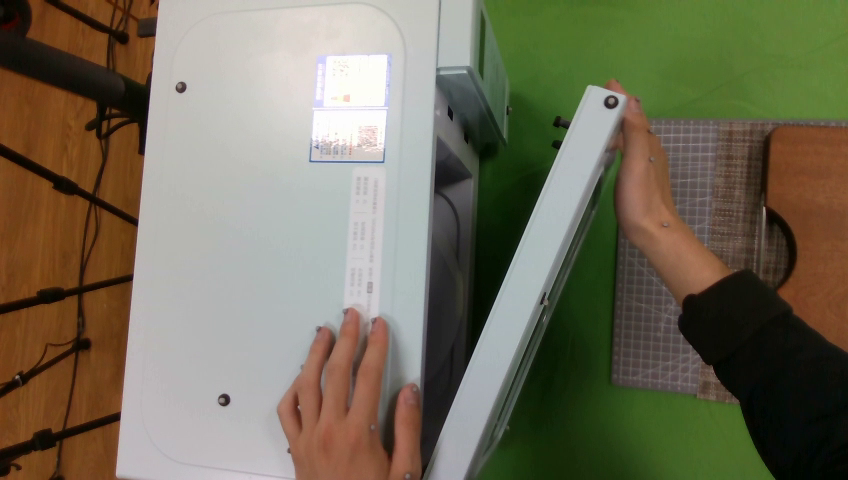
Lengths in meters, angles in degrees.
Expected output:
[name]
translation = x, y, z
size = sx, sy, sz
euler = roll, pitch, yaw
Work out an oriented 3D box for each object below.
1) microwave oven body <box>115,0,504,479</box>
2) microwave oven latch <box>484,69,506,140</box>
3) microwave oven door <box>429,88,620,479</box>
[microwave oven body]
translation = -0.098, 0.004, 0.627
size = 0.325, 0.261, 0.440
euler = 2, 86, 14
[microwave oven latch]
translation = 0.080, -0.157, 0.697
size = 0.030, 0.029, 0.079
euler = 2, 86, 14
[microwave oven door]
translation = 0.095, 0.062, 0.568
size = 0.039, 0.245, 0.355
euler = 22, 90, 16
